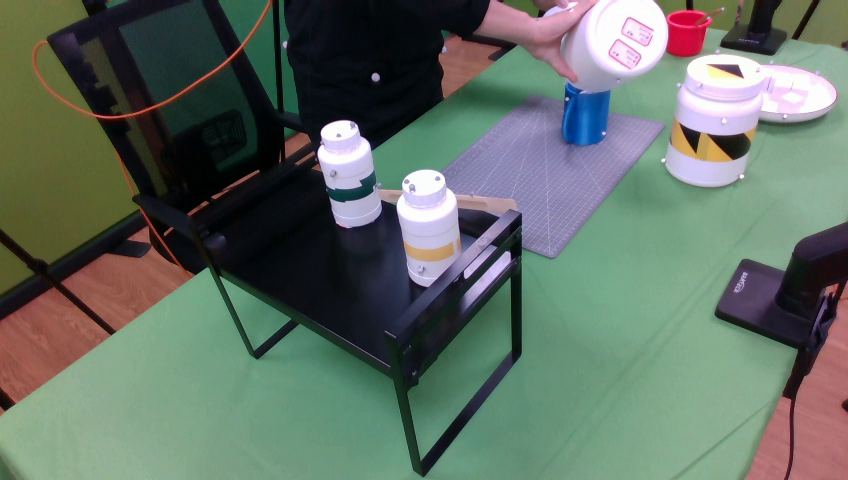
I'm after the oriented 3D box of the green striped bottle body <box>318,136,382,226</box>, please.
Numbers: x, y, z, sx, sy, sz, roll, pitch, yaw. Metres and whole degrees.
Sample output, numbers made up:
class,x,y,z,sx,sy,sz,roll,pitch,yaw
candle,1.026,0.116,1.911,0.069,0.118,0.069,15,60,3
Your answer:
class,x,y,z,sx,sy,sz,roll,pitch,yaw
green striped bottle body,-0.090,-0.080,0.733,0.063,0.120,0.063,-5,41,4

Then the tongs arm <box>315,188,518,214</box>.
class,x,y,z,sx,sy,sz,roll,pitch,yaw
tongs arm,-0.028,-0.060,0.988,0.382,0.027,0.051,9,45,36

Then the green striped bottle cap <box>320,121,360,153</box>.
class,x,y,z,sx,sy,sz,roll,pitch,yaw
green striped bottle cap,-0.097,-0.120,0.699,0.044,0.020,0.044,-4,39,3

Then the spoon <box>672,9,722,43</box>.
class,x,y,z,sx,sy,sz,roll,pitch,yaw
spoon,0.606,-0.476,1.345,0.042,0.021,0.193,-6,-3,-2

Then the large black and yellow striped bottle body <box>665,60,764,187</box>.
class,x,y,z,sx,sy,sz,roll,pitch,yaw
large black and yellow striped bottle body,0.482,-0.196,1.008,0.131,0.185,0.130,-4,41,4

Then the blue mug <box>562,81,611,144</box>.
class,x,y,z,sx,sy,sz,roll,pitch,yaw
blue mug,0.298,-0.240,1.143,0.117,0.106,0.081,-37,48,-29

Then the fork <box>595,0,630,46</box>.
class,x,y,z,sx,sy,sz,roll,pitch,yaw
fork,0.480,-0.556,1.453,0.028,0.019,0.207,41,103,40

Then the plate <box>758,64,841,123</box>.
class,x,y,z,sx,sy,sz,roll,pitch,yaw
plate,0.695,-0.283,1.189,0.207,0.039,0.206,-4,40,4

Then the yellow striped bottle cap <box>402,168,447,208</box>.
class,x,y,z,sx,sy,sz,roll,pitch,yaw
yellow striped bottle cap,0.000,-0.052,0.605,0.044,0.019,0.044,-5,43,5

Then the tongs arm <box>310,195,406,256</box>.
class,x,y,z,sx,sy,sz,roll,pitch,yaw
tongs arm,-0.078,-0.012,0.944,0.028,0.028,0.384,-43,39,-22

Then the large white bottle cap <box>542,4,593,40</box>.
class,x,y,z,sx,sy,sz,roll,pitch,yaw
large white bottle cap,0.293,-0.434,1.206,0.114,0.115,0.018,1,81,10

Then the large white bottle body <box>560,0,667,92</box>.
class,x,y,z,sx,sy,sz,roll,pitch,yaw
large white bottle body,0.305,-0.320,1.007,0.131,0.130,0.184,-10,5,-3

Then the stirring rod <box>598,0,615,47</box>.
class,x,y,z,sx,sy,sz,roll,pitch,yaw
stirring rod,0.437,-0.551,1.462,0.014,0.006,0.175,-11,83,1

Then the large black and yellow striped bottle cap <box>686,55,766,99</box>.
class,x,y,z,sx,sy,sz,roll,pitch,yaw
large black and yellow striped bottle cap,0.474,-0.258,0.952,0.115,0.019,0.114,-5,41,5

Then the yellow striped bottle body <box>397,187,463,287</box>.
class,x,y,z,sx,sy,sz,roll,pitch,yaw
yellow striped bottle body,0.007,-0.013,0.638,0.063,0.121,0.062,-5,41,4
